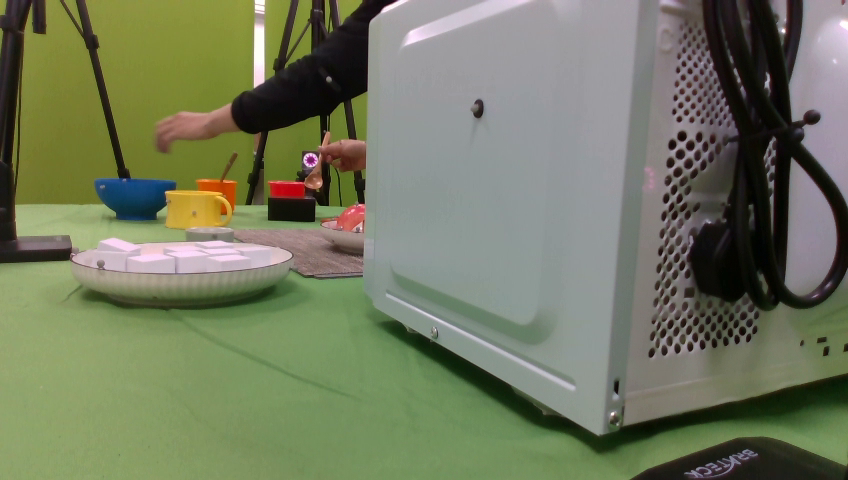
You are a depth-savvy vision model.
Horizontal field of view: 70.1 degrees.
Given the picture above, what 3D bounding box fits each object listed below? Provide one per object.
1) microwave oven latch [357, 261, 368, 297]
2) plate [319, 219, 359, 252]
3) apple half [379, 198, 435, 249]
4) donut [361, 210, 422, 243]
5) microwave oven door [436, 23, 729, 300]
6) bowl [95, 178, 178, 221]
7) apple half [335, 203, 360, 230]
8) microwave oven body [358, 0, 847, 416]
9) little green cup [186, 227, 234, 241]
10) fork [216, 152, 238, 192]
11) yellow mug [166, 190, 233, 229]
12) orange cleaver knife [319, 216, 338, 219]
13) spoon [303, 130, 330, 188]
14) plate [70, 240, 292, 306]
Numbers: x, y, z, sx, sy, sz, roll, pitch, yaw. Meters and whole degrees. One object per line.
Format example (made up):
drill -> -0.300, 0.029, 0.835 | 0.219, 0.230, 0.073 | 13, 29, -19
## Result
microwave oven latch -> -0.019, 0.033, 0.531 | 0.079, 0.029, 0.030 | -1, 7, -27
plate -> -0.059, -0.007, 0.939 | 0.209, 0.038, 0.209 | 3, 8, 0
apple half -> -0.020, -0.030, 0.891 | 0.081, 0.053, 0.074 | -2, 49, -26
donut -> -0.051, -0.020, 0.959 | 0.099, 0.048, 0.099 | 6, 8, -1
microwave oven door -> 0.180, -0.072, 0.621 | 0.358, 0.243, 0.039 | -2, 9, -29
bowl -> -0.576, -0.081, 1.217 | 0.151, 0.077, 0.151 | 3, 8, 0
apple half -> -0.116, -0.038, 0.960 | 0.081, 0.033, 0.081 | -37, 8, 7
microwave oven body -> 0.211, -0.047, 0.474 | 0.444, 0.260, 0.324 | -1, 7, -28
little green cup -> -0.285, 0.005, 0.805 | 0.061, 0.038, 0.061 | 2, 8, 0
fork -> -0.455, -0.132, 1.367 | 0.028, 0.018, 0.207 | -3, -34, -38
yellow mug -> -0.415, -0.057, 1.131 | 0.130, 0.064, 0.100 | 6, 8, 16
orange cleaver knife -> -0.142, -0.057, 1.394 | 0.077, 0.012, 0.212 | 1, 6, 44
spoon -> -0.249, -0.196, 1.450 | 0.041, 0.193, 0.021 | 11, -33, -2
plate -> -0.242, 0.032, 0.618 | 0.208, 0.039, 0.207 | 2, 8, 0
